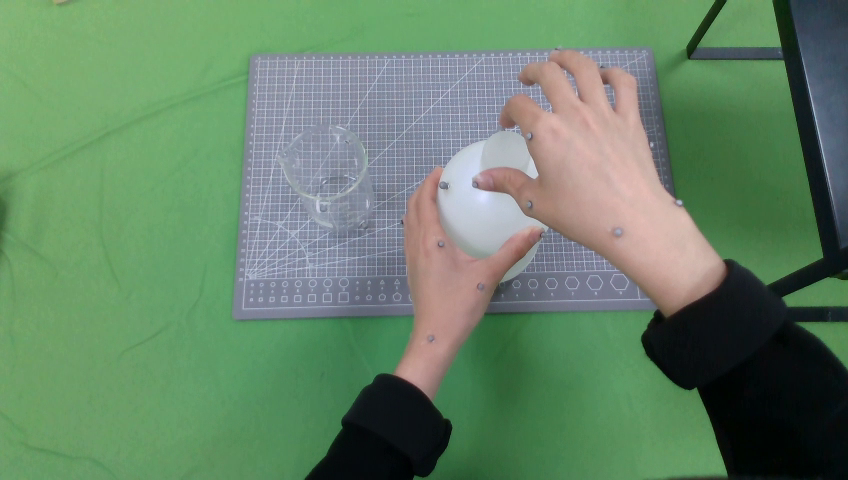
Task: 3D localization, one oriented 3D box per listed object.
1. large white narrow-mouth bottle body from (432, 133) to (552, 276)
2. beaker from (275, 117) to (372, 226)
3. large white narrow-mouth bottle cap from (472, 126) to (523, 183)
[{"bbox_3d":[0.058,-0.035,0.526,0.102,0.195,0.101,0,74,2],"label":"large white narrow-mouth bottle body"},{"bbox_3d":[-0.091,-0.060,0.581,0.084,0.101,0.073,8,73,3],"label":"beaker"},{"bbox_3d":[0.053,-0.061,0.439,0.038,0.024,0.037,0,74,2],"label":"large white narrow-mouth bottle cap"}]
